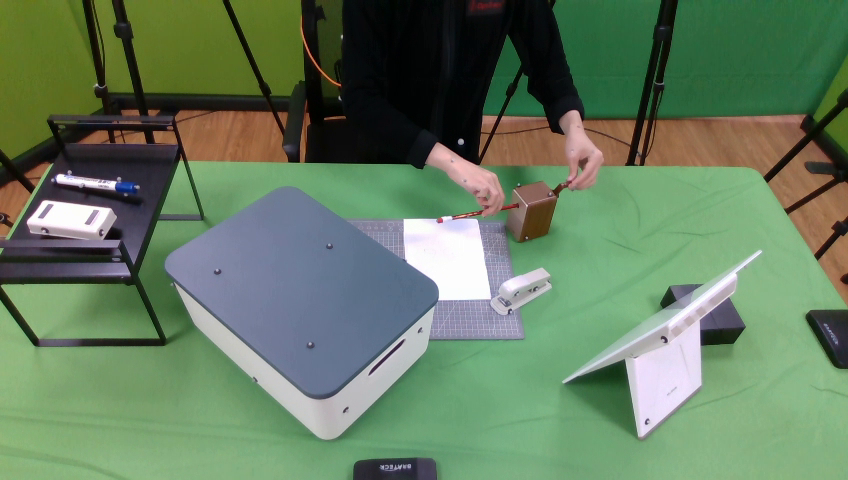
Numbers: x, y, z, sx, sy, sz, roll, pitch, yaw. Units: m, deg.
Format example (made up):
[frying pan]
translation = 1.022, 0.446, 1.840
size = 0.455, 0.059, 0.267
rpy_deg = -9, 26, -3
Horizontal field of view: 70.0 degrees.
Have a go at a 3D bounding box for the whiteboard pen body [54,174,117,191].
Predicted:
[whiteboard pen body]
translation = -0.541, -0.093, 0.993
size = 0.140, 0.017, 0.017
rpy_deg = 7, 46, 9

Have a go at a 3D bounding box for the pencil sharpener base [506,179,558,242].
[pencil sharpener base]
translation = 0.216, -0.059, 1.211
size = 0.077, 0.107, 0.061
rpy_deg = -16, 48, -19

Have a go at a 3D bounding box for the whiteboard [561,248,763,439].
[whiteboard]
translation = 0.386, 0.176, 0.905
size = 0.217, 0.306, 0.143
rpy_deg = -26, 72, -27

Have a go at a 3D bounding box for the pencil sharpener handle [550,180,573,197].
[pencil sharpener handle]
translation = 0.268, -0.097, 1.194
size = 0.031, 0.068, 0.036
rpy_deg = -16, 74, -19

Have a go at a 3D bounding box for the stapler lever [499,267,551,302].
[stapler lever]
translation = 0.185, 0.076, 1.101
size = 0.118, 0.040, 0.026
rpy_deg = -25, 57, -29

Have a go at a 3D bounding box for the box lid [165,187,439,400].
[box lid]
translation = -0.186, 0.060, 0.925
size = 0.370, 0.015, 0.263
rpy_deg = 32, 53, 25

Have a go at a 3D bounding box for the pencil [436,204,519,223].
[pencil]
translation = 0.112, -0.053, 1.152
size = 0.194, 0.012, 0.012
rpy_deg = -10, 48, -21

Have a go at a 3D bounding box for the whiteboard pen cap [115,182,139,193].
[whiteboard pen cap]
translation = -0.483, -0.086, 0.984
size = 0.033, 0.018, 0.018
rpy_deg = 7, 46, 10

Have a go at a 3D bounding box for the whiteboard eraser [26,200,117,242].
[whiteboard eraser]
translation = -0.532, -0.026, 0.919
size = 0.113, 0.042, 0.055
rpy_deg = 7, 45, 3

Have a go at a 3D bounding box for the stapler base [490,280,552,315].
[stapler base]
translation = 0.181, 0.094, 1.118
size = 0.130, 0.024, 0.041
rpy_deg = -24, 57, -29

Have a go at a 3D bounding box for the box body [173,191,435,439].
[box body]
translation = -0.191, 0.110, 0.979
size = 0.362, 0.161, 0.254
rpy_deg = 33, 53, 24
